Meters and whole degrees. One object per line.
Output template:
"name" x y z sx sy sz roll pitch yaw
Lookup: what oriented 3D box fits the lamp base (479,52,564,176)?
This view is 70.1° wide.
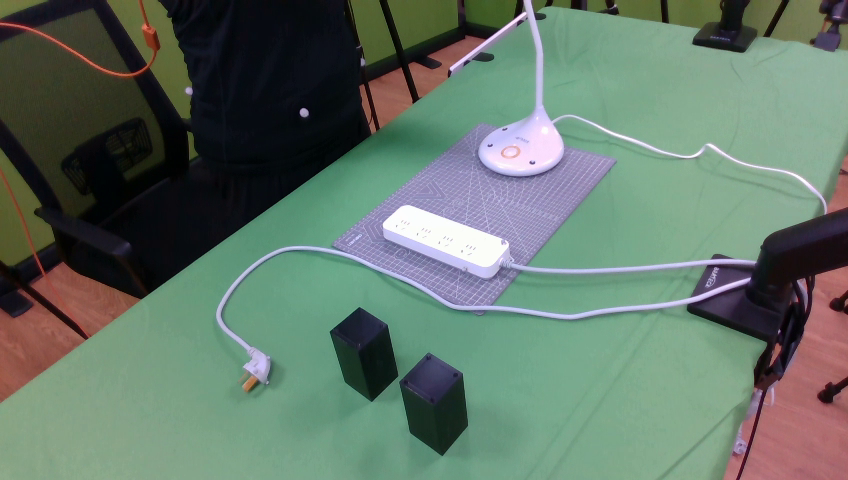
"lamp base" 0.181 -0.235 1.094 0.159 0.181 0.179 18 44 27

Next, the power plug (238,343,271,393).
"power plug" -0.230 0.172 0.801 0.072 0.035 0.053 9 51 50

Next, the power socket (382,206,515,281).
"power socket" 0.032 0.002 0.950 0.225 0.033 0.072 21 49 29
